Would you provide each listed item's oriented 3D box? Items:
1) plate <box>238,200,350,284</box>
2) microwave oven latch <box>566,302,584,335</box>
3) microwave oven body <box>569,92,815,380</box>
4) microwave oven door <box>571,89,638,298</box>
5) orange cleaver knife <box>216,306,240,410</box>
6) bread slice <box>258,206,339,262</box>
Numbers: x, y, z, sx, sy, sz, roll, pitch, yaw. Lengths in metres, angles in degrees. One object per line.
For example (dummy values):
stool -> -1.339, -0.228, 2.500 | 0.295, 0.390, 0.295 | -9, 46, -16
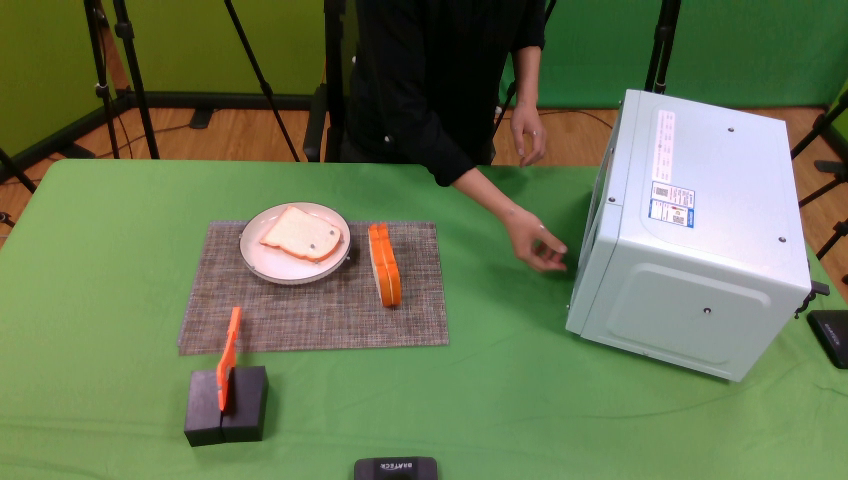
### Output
plate -> -0.245, 0.007, 1.156 | 0.208, 0.039, 0.206 | 2, 46, -2
microwave oven latch -> 0.268, 0.126, 1.059 | 0.030, 0.029, 0.079 | 16, 46, 12
microwave oven body -> 0.468, -0.022, 1.082 | 0.325, 0.261, 0.440 | 15, 46, 11
microwave oven door -> 0.343, -0.091, 1.133 | 0.039, 0.245, 0.354 | 15, 47, 10
orange cleaver knife -> -0.307, 0.180, 0.957 | 0.012, 0.077, 0.210 | -2, 25, -8
bread slice -> -0.232, -0.009, 1.168 | 0.134, 0.018, 0.106 | 19, 51, 10
